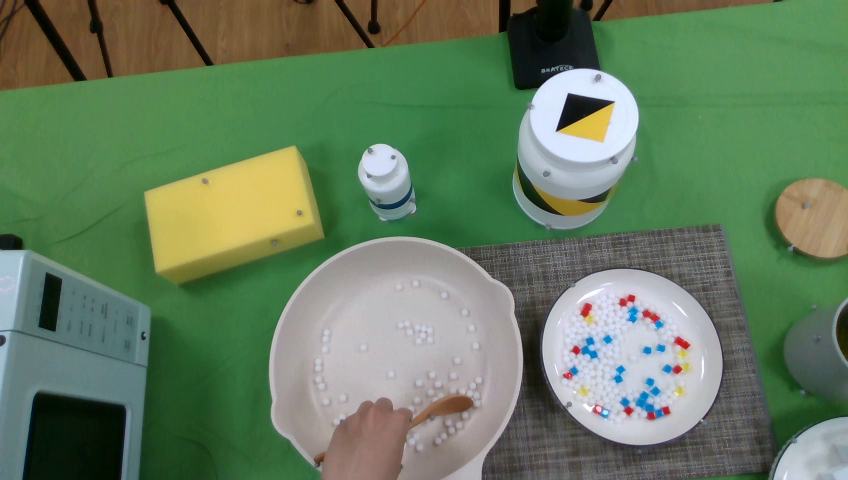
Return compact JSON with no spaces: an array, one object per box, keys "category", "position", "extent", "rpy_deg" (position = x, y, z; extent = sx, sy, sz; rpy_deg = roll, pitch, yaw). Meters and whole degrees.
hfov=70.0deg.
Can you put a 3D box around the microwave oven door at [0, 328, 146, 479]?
[{"category":"microwave oven door","position":[-0.360,0.281,0.593],"extent":[0.039,0.245,0.353],"rpy_deg":[-5,71,3]}]

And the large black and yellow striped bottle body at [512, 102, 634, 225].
[{"category":"large black and yellow striped bottle body","position":[0.175,-0.107,0.731],"extent":[0.131,0.185,0.130],"rpy_deg":[-1,71,4]}]

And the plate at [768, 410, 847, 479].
[{"category":"plate","position":[0.476,0.290,0.654],"extent":[0.207,0.039,0.206],"rpy_deg":[-1,72,4]}]

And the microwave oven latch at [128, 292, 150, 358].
[{"category":"microwave oven latch","position":[-0.362,0.107,0.758],"extent":[0.030,0.030,0.078],"rpy_deg":[-4,72,3]}]

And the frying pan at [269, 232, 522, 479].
[{"category":"frying pan","position":[0.014,0.218,0.675],"extent":[0.307,0.103,0.483],"rpy_deg":[-28,64,-4]}]

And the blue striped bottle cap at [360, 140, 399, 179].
[{"category":"blue striped bottle cap","position":[-0.053,-0.097,0.723],"extent":[0.044,0.021,0.044],"rpy_deg":[-2,69,6]}]

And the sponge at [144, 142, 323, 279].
[{"category":"sponge","position":[-0.251,-0.038,0.805],"extent":[0.207,0.061,0.117],"rpy_deg":[-18,71,-2]}]

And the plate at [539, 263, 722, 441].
[{"category":"plate","position":[0.241,0.130,0.721],"extent":[0.209,0.038,0.208],"rpy_deg":[-1,72,5]}]

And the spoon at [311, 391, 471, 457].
[{"category":"spoon","position":[-0.032,0.206,0.676],"extent":[0.194,0.042,0.021],"rpy_deg":[-15,54,-28]}]

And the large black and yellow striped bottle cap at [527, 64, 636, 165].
[{"category":"large black and yellow striped bottle cap","position":[0.169,-0.136,0.652],"extent":[0.115,0.019,0.114],"rpy_deg":[-1,73,4]}]

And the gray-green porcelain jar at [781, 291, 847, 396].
[{"category":"gray-green porcelain jar","position":[0.468,0.115,0.665],"extent":[0.106,0.127,0.105],"rpy_deg":[-1,71,4]}]

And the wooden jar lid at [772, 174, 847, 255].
[{"category":"wooden jar lid","position":[0.496,-0.031,0.768],"extent":[0.108,0.021,0.107],"rpy_deg":[-1,73,4]}]

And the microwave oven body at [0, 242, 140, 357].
[{"category":"microwave oven body","position":[-0.506,0.255,0.619],"extent":[0.326,0.262,0.438],"rpy_deg":[-5,72,2]}]

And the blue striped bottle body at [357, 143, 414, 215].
[{"category":"blue striped bottle body","position":[-0.049,-0.081,0.772],"extent":[0.063,0.121,0.062],"rpy_deg":[-1,71,4]}]
